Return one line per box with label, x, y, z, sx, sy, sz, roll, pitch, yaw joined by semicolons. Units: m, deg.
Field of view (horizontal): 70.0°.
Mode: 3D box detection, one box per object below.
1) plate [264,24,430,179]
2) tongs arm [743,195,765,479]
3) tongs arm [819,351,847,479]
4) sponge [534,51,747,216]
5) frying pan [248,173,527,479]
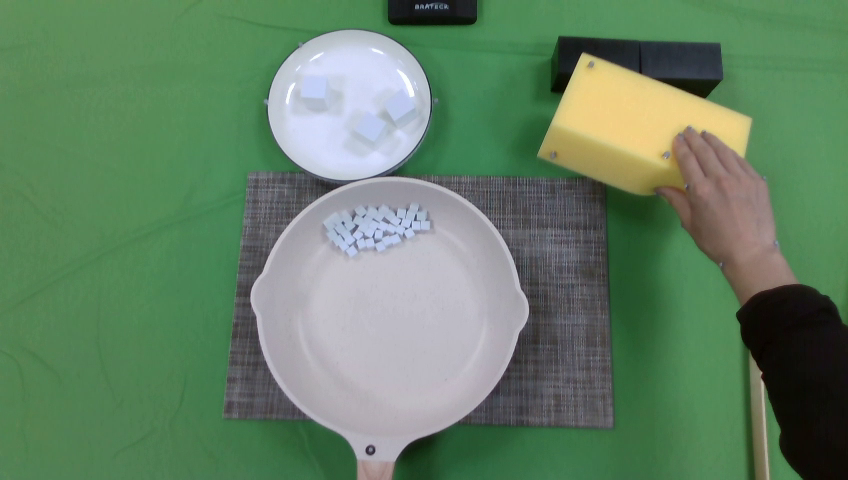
plate;-0.096;-0.174;0.773;0.208;0.039;0.206;0;77;1
tongs arm;0.389;0.135;0.701;0.028;0.028;0.385;4;78;-1
tongs arm;0.468;0.151;0.693;0.050;0.026;0.383;16;79;5
sponge;0.245;-0.123;0.690;0.206;0.061;0.117;21;62;5
frying pan;-0.048;0.167;0.655;0.307;0.103;0.484;4;69;3
